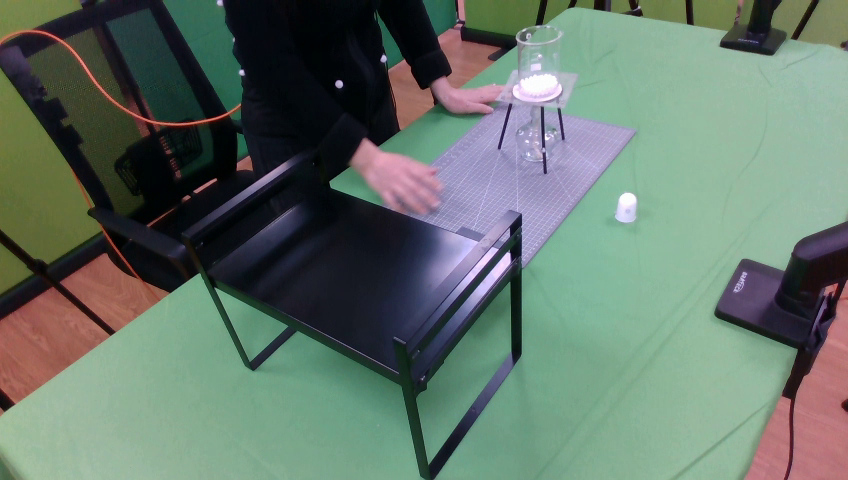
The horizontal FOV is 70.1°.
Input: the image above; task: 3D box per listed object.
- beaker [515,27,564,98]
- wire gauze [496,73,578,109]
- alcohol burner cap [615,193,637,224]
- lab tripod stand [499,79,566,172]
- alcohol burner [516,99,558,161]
[{"bbox_3d":[0.198,-0.302,1.033,0.084,0.101,0.073,-14,40,-5],"label":"beaker"},{"bbox_3d":[0.200,-0.266,1.066,0.124,0.011,0.121,8,41,23],"label":"wire gauze"},{"bbox_3d":[0.327,-0.054,0.974,0.034,0.048,0.033,-4,38,4],"label":"alcohol burner cap"},{"bbox_3d":[0.204,-0.215,1.107,0.148,0.132,0.147,-6,41,5],"label":"lab tripod stand"},{"bbox_3d":[0.208,-0.205,1.110,0.078,0.119,0.077,-3,41,3],"label":"alcohol burner"}]
